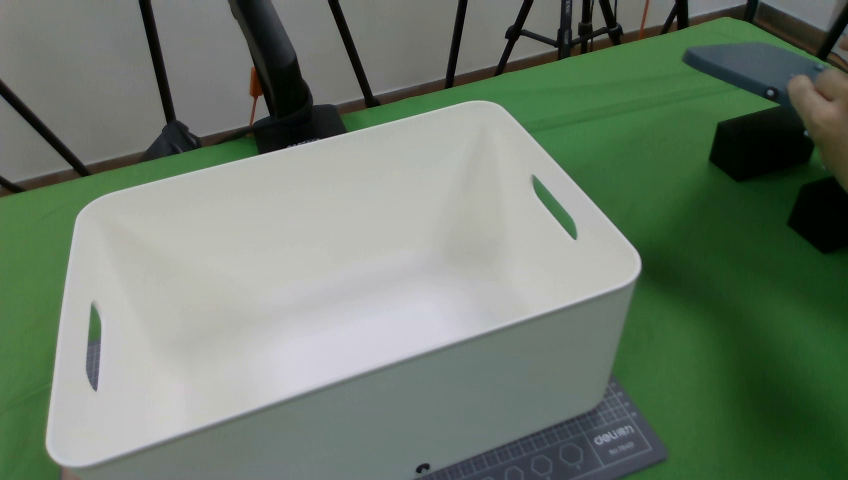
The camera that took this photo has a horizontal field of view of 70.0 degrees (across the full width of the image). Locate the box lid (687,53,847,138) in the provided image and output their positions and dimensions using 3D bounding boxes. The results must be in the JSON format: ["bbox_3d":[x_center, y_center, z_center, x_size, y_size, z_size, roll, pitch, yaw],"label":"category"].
[{"bbox_3d":[0.437,-0.093,0.533,0.368,0.015,0.264,36,36,30],"label":"box lid"}]

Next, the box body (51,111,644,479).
[{"bbox_3d":[-0.054,0.060,0.482,0.364,0.162,0.251,-17,42,-11],"label":"box body"}]
